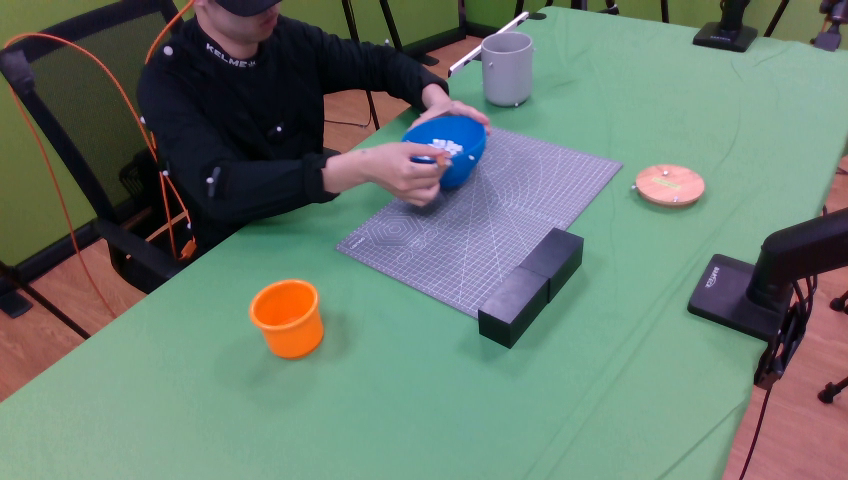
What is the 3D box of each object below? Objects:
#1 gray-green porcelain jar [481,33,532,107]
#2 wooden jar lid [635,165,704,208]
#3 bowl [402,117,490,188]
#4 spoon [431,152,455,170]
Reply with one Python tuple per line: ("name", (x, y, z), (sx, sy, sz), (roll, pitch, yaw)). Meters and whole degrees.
("gray-green porcelain jar", (0.175, -0.355, 1.278), (0.106, 0.127, 0.105), (-4, 41, 4))
("wooden jar lid", (0.410, -0.089, 1.014), (0.108, 0.021, 0.108), (-5, 42, 5))
("bowl", (0.043, -0.143, 1.047), (0.151, 0.077, 0.150), (-8, 38, 7))
("spoon", (0.031, -0.130, 0.977), (0.041, 0.021, 0.193), (2, 10, 1))
